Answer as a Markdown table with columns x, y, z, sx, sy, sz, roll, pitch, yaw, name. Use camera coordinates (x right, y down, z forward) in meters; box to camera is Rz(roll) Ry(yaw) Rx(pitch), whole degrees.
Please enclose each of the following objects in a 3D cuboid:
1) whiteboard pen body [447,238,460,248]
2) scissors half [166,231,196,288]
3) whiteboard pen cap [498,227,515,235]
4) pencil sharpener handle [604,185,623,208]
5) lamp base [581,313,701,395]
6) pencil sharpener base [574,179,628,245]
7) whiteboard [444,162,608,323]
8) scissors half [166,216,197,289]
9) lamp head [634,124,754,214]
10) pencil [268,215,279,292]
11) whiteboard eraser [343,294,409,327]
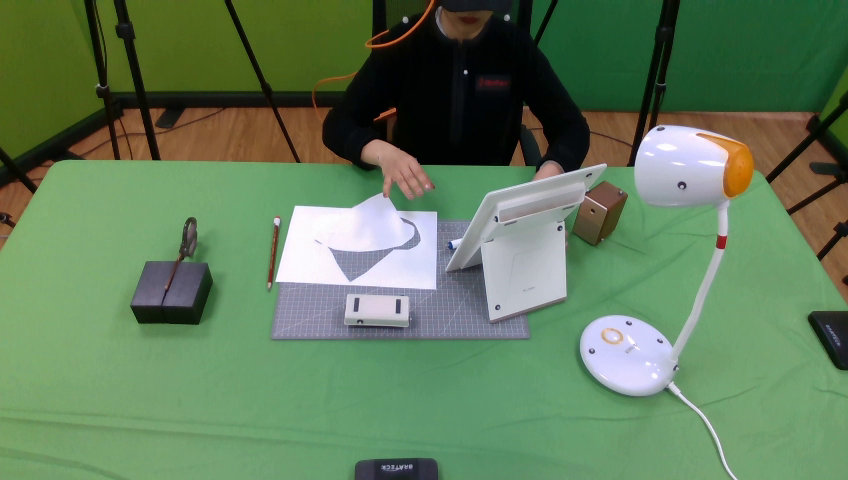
| x | y | z | sx | sy | sz | roll | pitch | yaw | name |
| --- | --- | --- | --- | --- | --- | --- | --- | --- | --- |
| 0.112 | -0.005 | 1.203 | 0.141 | 0.017 | 0.017 | -14 | 49 | -18 | whiteboard pen body |
| -0.441 | 0.036 | 1.098 | 0.013 | 0.040 | 0.174 | 12 | 28 | -10 | scissors half |
| 0.166 | -0.018 | 1.223 | 0.033 | 0.018 | 0.018 | -4 | 46 | -21 | whiteboard pen cap |
| 0.390 | -0.091 | 1.235 | 0.030 | 0.068 | 0.036 | -33 | 69 | -31 | pencil sharpener handle |
| 0.361 | 0.144 | 0.973 | 0.178 | 0.181 | 0.160 | 34 | 53 | 23 | lamp base |
| 0.355 | -0.057 | 1.217 | 0.076 | 0.107 | 0.061 | -33 | 56 | -31 | pencil sharpener base |
| 0.186 | 0.025 | 1.029 | 0.217 | 0.306 | 0.143 | -14 | 68 | -18 | whiteboard |
| -0.436 | 0.020 | 1.086 | 0.013 | 0.040 | 0.174 | 7 | 47 | -7 | scissors half |
| 0.351 | -0.089 | 0.775 | 0.112 | 0.113 | 0.122 | -30 | 30 | -28 | lamp head |
| -0.291 | 0.022 | 1.164 | 0.012 | 0.012 | 0.192 | -2 | 48 | -6 | pencil |
| -0.083 | 0.124 | 1.053 | 0.113 | 0.042 | 0.055 | 2 | 45 | -2 | whiteboard eraser |
